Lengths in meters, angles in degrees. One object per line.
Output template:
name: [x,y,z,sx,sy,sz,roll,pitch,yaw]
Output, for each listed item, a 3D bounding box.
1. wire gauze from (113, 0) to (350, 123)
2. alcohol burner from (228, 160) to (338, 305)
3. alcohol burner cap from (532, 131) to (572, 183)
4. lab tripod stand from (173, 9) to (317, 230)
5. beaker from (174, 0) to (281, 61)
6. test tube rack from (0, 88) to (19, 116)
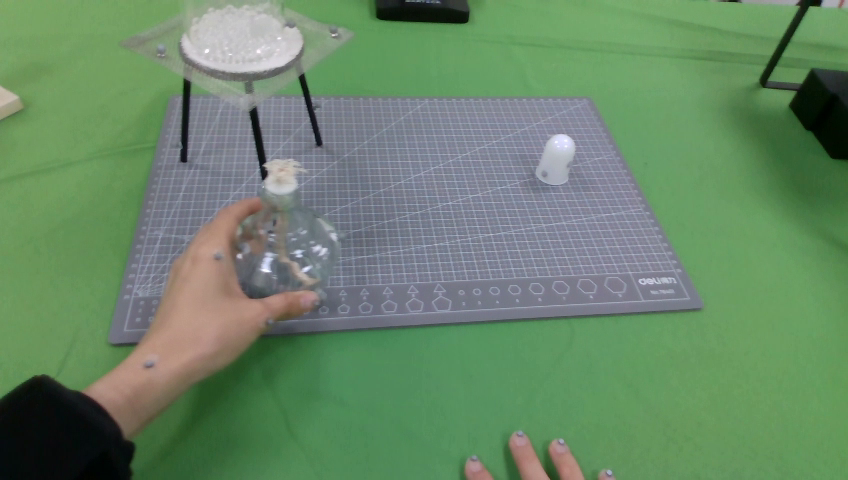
wire gauze: [-0.137,-0.146,0.444,0.124,0.011,0.121,30,53,14]
alcohol burner: [-0.099,-0.009,0.426,0.078,0.120,0.077,5,46,-5]
alcohol burner cap: [0.122,-0.080,0.572,0.034,0.048,0.033,3,47,-3]
lab tripod stand: [-0.141,-0.102,0.492,0.148,0.132,0.147,5,48,-5]
beaker: [-0.137,-0.180,0.408,0.073,0.101,0.083,28,51,17]
test tube rack: [-0.471,-0.099,0.480,0.066,0.086,0.241,27,50,17]
